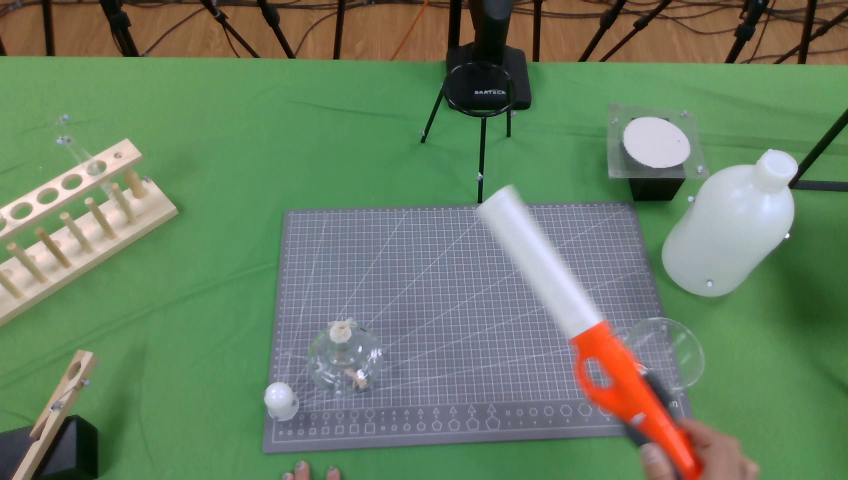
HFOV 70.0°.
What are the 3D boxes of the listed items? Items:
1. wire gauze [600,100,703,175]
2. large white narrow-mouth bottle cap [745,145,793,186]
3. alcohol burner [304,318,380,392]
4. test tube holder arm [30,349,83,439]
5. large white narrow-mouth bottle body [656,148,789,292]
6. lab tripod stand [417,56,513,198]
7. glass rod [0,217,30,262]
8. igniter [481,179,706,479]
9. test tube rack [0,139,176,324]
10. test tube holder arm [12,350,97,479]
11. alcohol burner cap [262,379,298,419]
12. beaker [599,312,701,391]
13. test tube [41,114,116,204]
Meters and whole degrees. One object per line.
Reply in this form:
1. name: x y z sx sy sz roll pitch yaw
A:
1. wire gauze: 0.290 -0.132 0.782 0.121 0.011 0.124 5 58 1
2. large white narrow-mouth bottle cap: 0.338 -0.074 0.595 0.038 0.024 0.037 1 58 -1
3. alcohol burner: -0.083 0.109 0.610 0.078 0.120 0.077 2 57 -3
4. test tube holder arm: -0.348 0.147 0.580 0.010 0.015 0.087 7 59 10
5. large white narrow-mouth bottle body: 0.335 -0.027 0.668 0.102 0.196 0.101 1 58 -1
6. lab tripod stand: 0.060 -0.148 0.766 0.148 0.132 0.147 2 59 -3
7. glass rod: -0.450 -0.036 0.625 0.008 0.201 0.008 3 50 -3
8. igniter: 0.130 0.075 0.467 0.025 0.057 0.275 -19 75 -55
9. test tube rack: -0.418 -0.008 0.687 0.242 0.086 0.066 -38 67 -23
10. test tube holder arm: -0.352 0.185 0.556 0.013 0.015 0.177 8 59 10
11. alcohol burner cap: -0.149 0.160 0.619 0.034 0.048 0.033 1 58 -1
12. beaker: 0.223 0.128 0.620 0.084 0.101 0.073 3 58 1
13. test tube: -0.379 -0.085 0.678 0.017 0.151 0.017 -1 60 2
